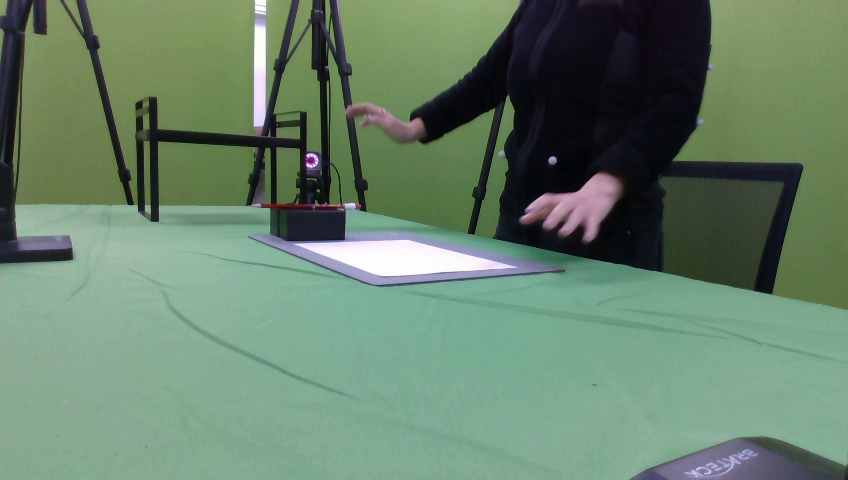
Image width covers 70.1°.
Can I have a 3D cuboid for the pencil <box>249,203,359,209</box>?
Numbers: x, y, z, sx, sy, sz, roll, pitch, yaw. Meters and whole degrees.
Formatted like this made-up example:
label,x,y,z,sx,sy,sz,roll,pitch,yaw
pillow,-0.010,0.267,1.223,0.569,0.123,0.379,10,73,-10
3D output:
label,x,y,z,sx,sy,sz,roll,pitch,yaw
pencil,-0.201,-0.059,1.031,0.195,0.012,0.012,-1,8,-31
